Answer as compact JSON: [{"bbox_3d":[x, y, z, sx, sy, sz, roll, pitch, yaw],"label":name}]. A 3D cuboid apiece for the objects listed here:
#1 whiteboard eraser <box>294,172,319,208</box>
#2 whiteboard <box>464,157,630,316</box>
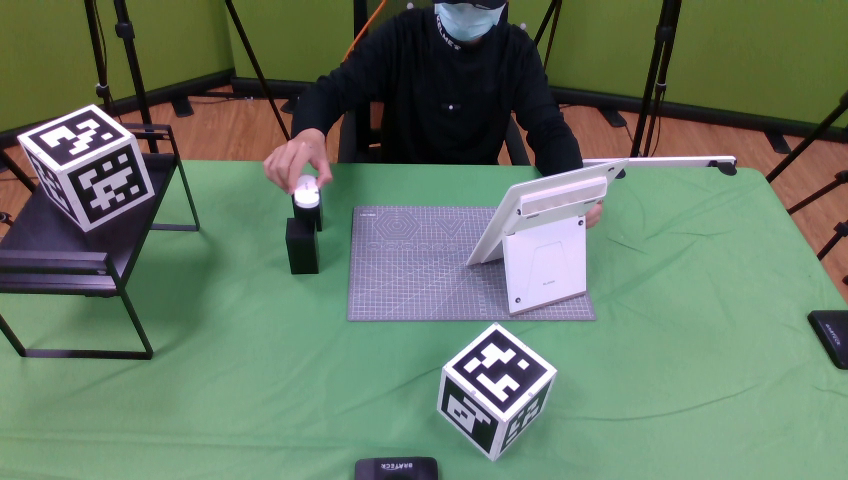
[{"bbox_3d":[-0.213,-0.092,1.091,0.041,0.019,0.100,-1,37,-14],"label":"whiteboard eraser"},{"bbox_3d":[0.224,0.015,1.043,0.217,0.306,0.143,-14,68,-17],"label":"whiteboard"}]
